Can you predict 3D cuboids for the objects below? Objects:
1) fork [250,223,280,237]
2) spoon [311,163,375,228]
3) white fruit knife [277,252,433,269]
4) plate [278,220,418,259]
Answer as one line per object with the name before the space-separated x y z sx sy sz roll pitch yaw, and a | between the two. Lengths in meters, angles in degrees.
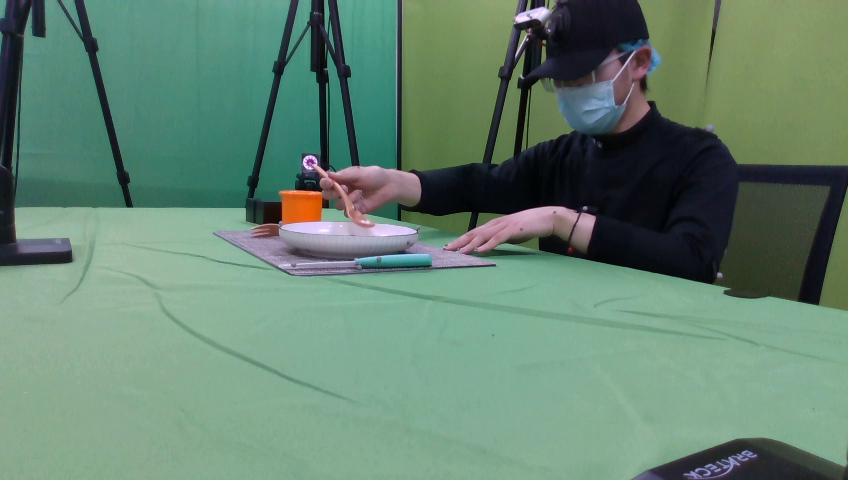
fork | -0.194 -0.014 1.051 0.208 0.028 0.018 2 34 -14
spoon | -0.140 -0.077 1.015 0.042 0.021 0.193 4 37 -46
white fruit knife | -0.082 0.029 0.772 0.208 0.016 0.027 -3 -20 -22
plate | -0.114 -0.002 0.914 0.209 0.038 0.209 2 7 0
